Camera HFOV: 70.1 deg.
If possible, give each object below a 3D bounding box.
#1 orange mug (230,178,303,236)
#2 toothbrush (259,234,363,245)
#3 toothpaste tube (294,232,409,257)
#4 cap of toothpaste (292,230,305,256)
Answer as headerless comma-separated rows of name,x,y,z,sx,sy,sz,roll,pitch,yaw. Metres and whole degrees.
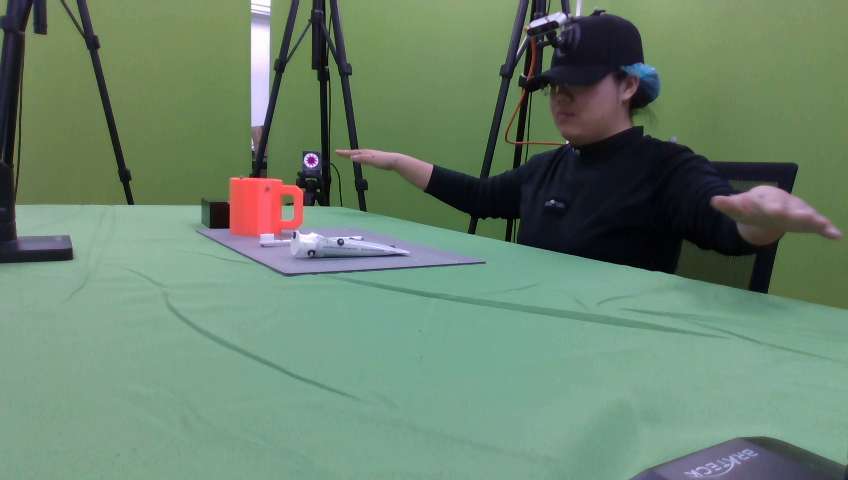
orange mug,-0.275,-0.060,1.058,0.126,0.101,0.083,-2,8,-5
toothbrush,-0.175,-0.002,0.958,0.183,0.016,0.014,-1,-5,-39
toothpaste tube,-0.103,0.010,0.853,0.166,0.034,0.055,3,11,-34
cap of toothpaste,-0.169,0.004,0.812,0.011,0.037,0.037,6,4,-30
